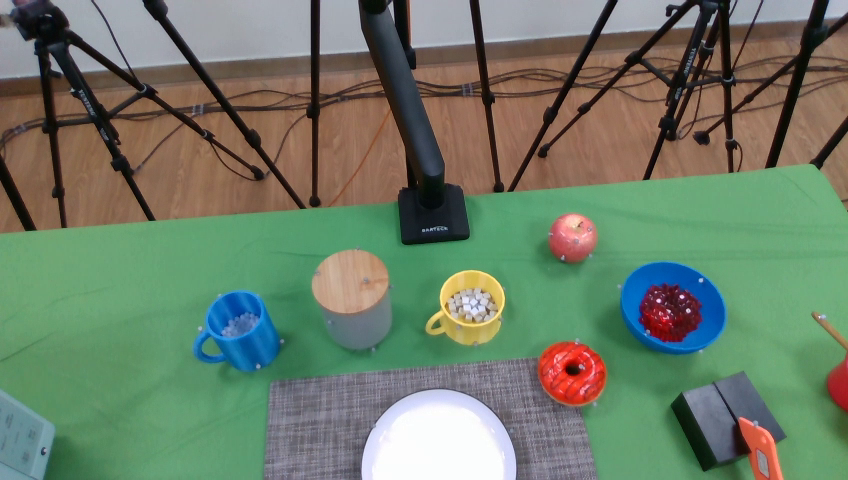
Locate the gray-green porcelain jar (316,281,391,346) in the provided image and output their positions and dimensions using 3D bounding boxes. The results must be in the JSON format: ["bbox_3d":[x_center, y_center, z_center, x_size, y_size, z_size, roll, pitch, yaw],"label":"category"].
[{"bbox_3d":[-0.104,0.092,0.910,0.106,0.127,0.105,0,55,1],"label":"gray-green porcelain jar"}]

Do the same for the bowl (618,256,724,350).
[{"bbox_3d":[0.364,0.108,0.922,0.151,0.077,0.150,0,56,1],"label":"bowl"}]

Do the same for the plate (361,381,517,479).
[{"bbox_3d":[0.019,0.295,0.817,0.208,0.039,0.205,0,56,1],"label":"plate"}]

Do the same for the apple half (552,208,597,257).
[{"bbox_3d":[0.255,-0.016,1.012,0.053,0.075,0.080,-30,56,-25],"label":"apple half"}]

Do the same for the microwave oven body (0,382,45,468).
[{"bbox_3d":[-0.662,0.372,0.635,0.326,0.262,0.437,-4,56,-2],"label":"microwave oven body"}]

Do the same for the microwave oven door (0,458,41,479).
[{"bbox_3d":[-0.514,0.393,0.613,0.039,0.246,0.352,-5,55,-2],"label":"microwave oven door"}]

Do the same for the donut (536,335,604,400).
[{"bbox_3d":[0.213,0.186,0.886,0.099,0.048,0.098,0,56,1],"label":"donut"}]

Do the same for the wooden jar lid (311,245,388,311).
[{"bbox_3d":[-0.105,0.056,0.859,0.108,0.021,0.107,-1,53,1],"label":"wooden jar lid"}]

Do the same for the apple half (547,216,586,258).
[{"bbox_3d":[0.226,0.003,0.997,0.033,0.082,0.080,-31,60,-24],"label":"apple half"}]

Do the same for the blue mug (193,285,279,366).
[{"bbox_3d":[-0.281,0.135,0.894,0.116,0.107,0.081,-27,59,-16],"label":"blue mug"}]

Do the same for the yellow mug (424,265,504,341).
[{"bbox_3d":[0.058,0.104,0.936,0.131,0.064,0.099,-25,59,-15],"label":"yellow mug"}]

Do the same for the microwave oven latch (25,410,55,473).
[{"bbox_3d":[-0.527,0.273,0.820,0.030,0.030,0.078,-3,56,-1],"label":"microwave oven latch"}]

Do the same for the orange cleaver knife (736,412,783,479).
[{"bbox_3d":[0.447,0.324,0.768,0.012,0.077,0.210,-15,80,-5],"label":"orange cleaver knife"}]

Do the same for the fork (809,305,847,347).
[{"bbox_3d":[0.592,0.155,0.842,0.209,0.018,0.028,43,56,-20],"label":"fork"}]
